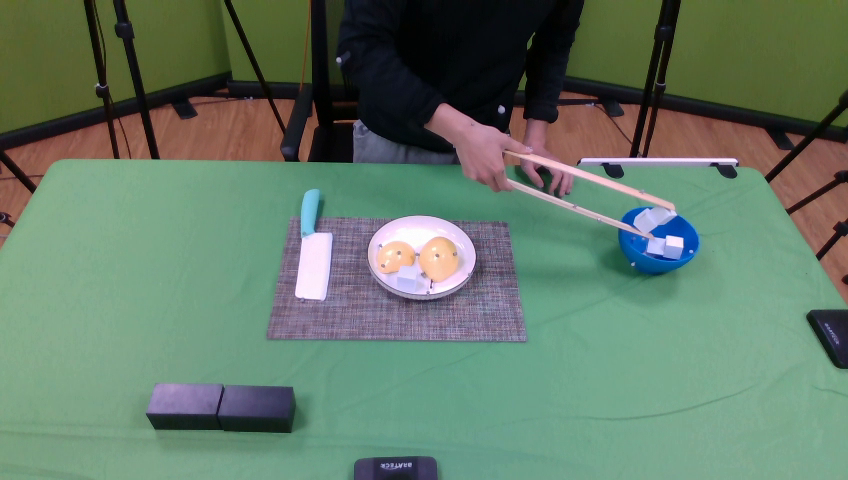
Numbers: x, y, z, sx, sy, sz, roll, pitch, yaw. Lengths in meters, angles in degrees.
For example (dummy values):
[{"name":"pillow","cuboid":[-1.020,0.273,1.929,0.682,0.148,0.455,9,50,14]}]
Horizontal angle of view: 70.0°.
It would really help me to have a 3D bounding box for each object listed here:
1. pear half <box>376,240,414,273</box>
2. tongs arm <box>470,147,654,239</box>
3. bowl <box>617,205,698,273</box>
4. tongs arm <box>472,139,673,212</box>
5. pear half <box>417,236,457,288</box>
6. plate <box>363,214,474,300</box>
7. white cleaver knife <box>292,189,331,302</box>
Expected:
[{"name":"pear half","cuboid":[-0.058,0.026,1.146,0.070,0.031,0.088,22,43,22]},{"name":"tongs arm","cuboid":[0.260,-0.085,1.119,0.385,0.051,0.026,18,34,-7]},{"name":"bowl","cuboid":[0.444,0.011,1.182,0.151,0.077,0.150,2,46,-2]},{"name":"tongs arm","cuboid":[0.274,-0.116,1.098,0.388,0.028,0.027,18,37,-6]},{"name":"pear half","cuboid":[0.022,0.039,1.127,0.076,0.056,0.109,5,50,7]},{"name":"plate","cuboid":[-0.010,0.036,1.146,0.208,0.039,0.206,2,46,-2]},{"name":"white cleaver knife","cuboid":[-0.215,0.006,1.178,0.066,0.021,0.284,5,49,-12]}]
